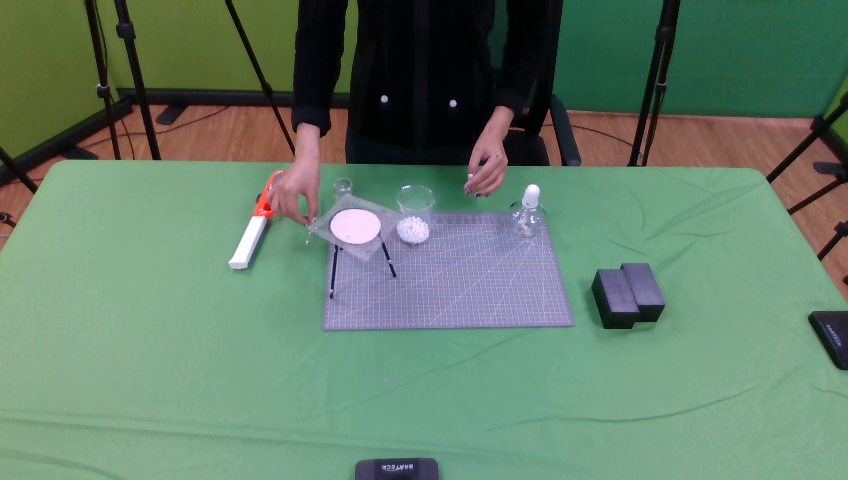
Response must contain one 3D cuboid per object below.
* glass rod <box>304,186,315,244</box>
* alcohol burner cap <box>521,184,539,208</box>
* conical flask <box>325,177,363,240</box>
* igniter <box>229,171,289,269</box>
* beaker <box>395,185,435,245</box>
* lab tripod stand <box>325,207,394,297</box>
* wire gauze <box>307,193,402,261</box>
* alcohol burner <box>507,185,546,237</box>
[{"bbox_3d":[-0.222,-0.053,1.187,0.008,0.008,0.198,-1,36,-4],"label":"glass rod"},{"bbox_3d":[0.210,-0.087,1.184,0.034,0.048,0.033,0,52,0],"label":"alcohol burner cap"},{"bbox_3d":[-0.158,-0.064,1.176,0.075,0.122,0.075,2,46,-2],"label":"conical flask"},{"bbox_3d":[-0.328,-0.049,1.218,0.057,0.025,0.275,1,45,11],"label":"igniter"},{"bbox_3d":[-0.022,-0.048,1.187,0.074,0.101,0.083,-28,53,-28],"label":"beaker"},{"bbox_3d":[-0.124,0.017,1.092,0.148,0.132,0.147,3,44,-3],"label":"lab tripod stand"},{"bbox_3d":[-0.118,-0.028,1.043,0.125,0.011,0.121,24,47,17],"label":"wire gauze"},{"bbox_3d":[0.208,-0.063,1.210,0.078,0.119,0.077,3,44,-3],"label":"alcohol burner"}]
